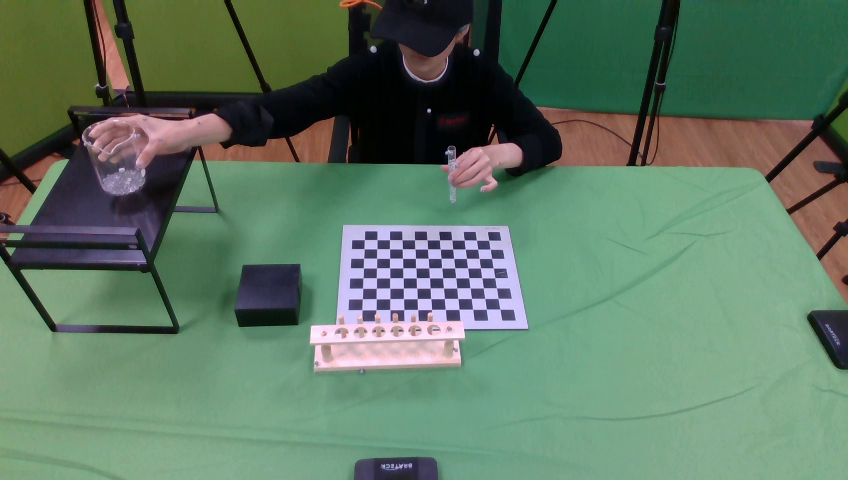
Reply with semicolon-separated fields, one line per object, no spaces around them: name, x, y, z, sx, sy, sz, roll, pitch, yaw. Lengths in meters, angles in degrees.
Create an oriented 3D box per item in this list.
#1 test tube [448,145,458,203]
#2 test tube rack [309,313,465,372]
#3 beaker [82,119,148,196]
test tube;0.057;-0.125;1.177;0.017;0.151;0.017;-2;51;3
test tube rack;-0.059;0.161;0.990;0.242;0.085;0.066;-1;46;-5
beaker;-0.480;-0.125;0.949;0.074;0.101;0.083;-11;46;-17
